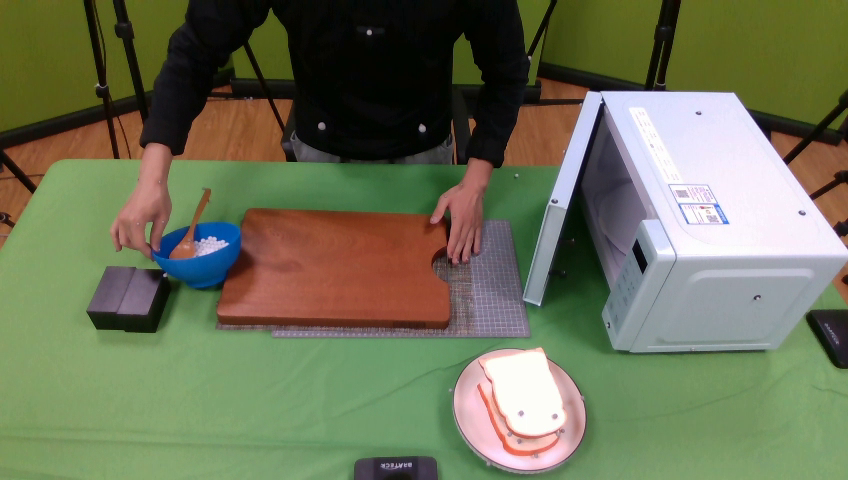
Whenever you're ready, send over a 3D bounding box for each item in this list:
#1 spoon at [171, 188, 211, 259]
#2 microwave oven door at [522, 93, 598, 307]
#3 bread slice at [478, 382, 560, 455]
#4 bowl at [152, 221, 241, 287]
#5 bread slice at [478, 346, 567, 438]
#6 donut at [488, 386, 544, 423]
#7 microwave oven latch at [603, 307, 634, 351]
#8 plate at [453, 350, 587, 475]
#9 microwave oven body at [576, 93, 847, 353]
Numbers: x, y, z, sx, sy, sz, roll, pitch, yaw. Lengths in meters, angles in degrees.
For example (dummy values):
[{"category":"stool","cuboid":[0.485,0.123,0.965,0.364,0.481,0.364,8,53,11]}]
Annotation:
[{"category":"spoon","cuboid":[-0.425,-0.030,1.127,0.041,0.022,0.192,2,53,3]},{"category":"microwave oven door","cuboid":[0.259,-0.084,1.127,0.039,0.245,0.354,17,47,12]},{"category":"bread slice","cuboid":[0.154,0.268,0.943,0.105,0.019,0.130,-10,47,-12]},{"category":"bowl","cuboid":[-0.397,0.033,1.085,0.151,0.077,0.150,-5,26,3]},{"category":"bread slice","cuboid":[0.152,0.226,0.901,0.107,0.018,0.133,-11,54,-16]},{"category":"donut","cuboid":[0.147,0.242,0.927,0.099,0.048,0.098,-1,42,1]},{"category":"microwave oven latch","cuboid":[0.332,0.153,1.044,0.030,0.029,0.078,0,45,-3]},{"category":"plate","cuboid":[0.146,0.267,0.943,0.208,0.039,0.206,3,46,-2]},{"category":"microwave oven body","cuboid":[0.475,-0.041,1.109,0.326,0.261,0.438,-1,45,-4]}]
